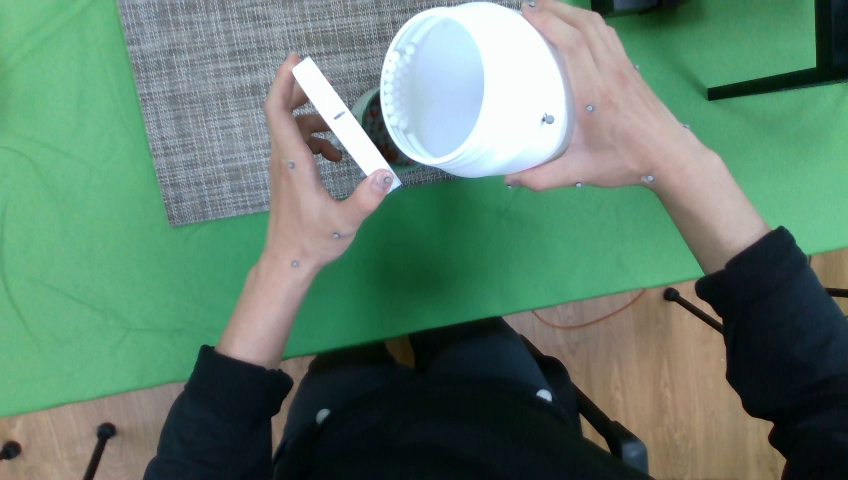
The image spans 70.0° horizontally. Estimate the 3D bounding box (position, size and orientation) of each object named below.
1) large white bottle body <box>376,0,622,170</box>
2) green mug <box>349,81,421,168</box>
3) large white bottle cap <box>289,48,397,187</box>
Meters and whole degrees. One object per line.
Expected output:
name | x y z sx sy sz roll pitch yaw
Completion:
large white bottle body | 0.063 -0.124 0.493 0.185 0.129 0.131 -11 102 -47
green mug | -0.028 -0.134 0.603 0.093 0.104 0.125 6 96 -12
large white bottle cap | -0.059 -0.090 0.455 0.018 0.114 0.115 -35 103 2
